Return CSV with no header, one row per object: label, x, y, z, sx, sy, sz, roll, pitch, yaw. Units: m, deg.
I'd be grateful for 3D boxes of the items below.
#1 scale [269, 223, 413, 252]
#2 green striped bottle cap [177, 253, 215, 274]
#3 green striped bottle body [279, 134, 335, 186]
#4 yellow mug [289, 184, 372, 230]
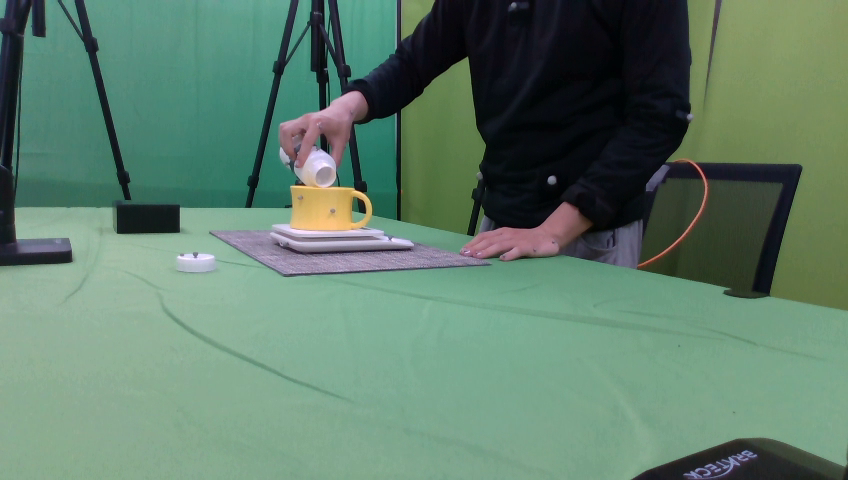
scale,-0.132,-0.007,0.965,0.202,0.031,0.148,-2,8,-31
green striped bottle cap,-0.279,0.028,0.741,0.044,0.020,0.044,4,6,0
green striped bottle body,-0.192,-0.130,1.012,0.063,0.063,0.118,-3,29,-37
yellow mug,-0.145,-0.052,0.944,0.131,0.064,0.100,4,7,9
